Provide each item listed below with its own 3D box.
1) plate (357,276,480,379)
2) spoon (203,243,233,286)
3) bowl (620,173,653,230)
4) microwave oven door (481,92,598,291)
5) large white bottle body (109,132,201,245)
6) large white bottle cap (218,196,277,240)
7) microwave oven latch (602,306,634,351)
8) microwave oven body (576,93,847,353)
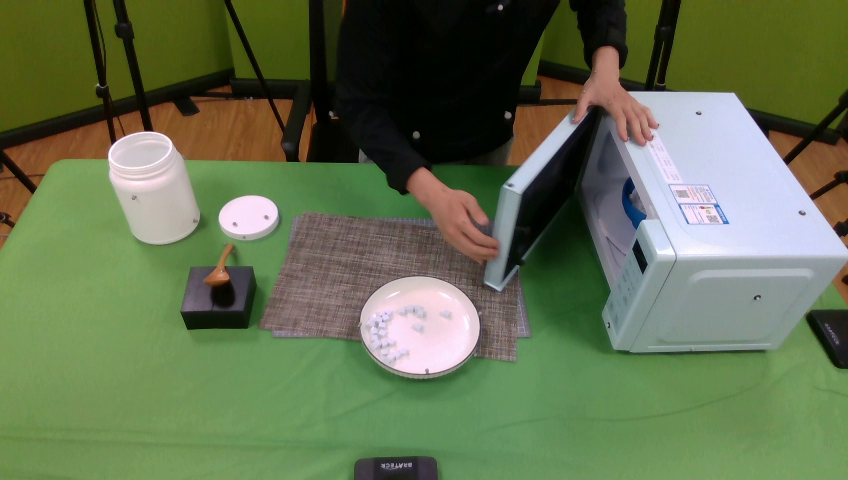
[{"bbox_3d":[-0.010,0.151,1.038,0.209,0.038,0.208,2,47,-2],"label":"plate"},{"bbox_3d":[-0.360,0.039,1.087,0.041,0.022,0.192,-5,24,-7],"label":"spoon"},{"bbox_3d":[0.444,-0.057,1.165,0.151,0.077,0.150,2,46,-2],"label":"bowl"},{"bbox_3d":[0.224,-0.098,1.139,0.039,0.245,0.355,27,50,21],"label":"microwave oven door"},{"bbox_3d":[-0.506,-0.097,1.141,0.131,0.185,0.130,2,46,-2],"label":"large white bottle body"},{"bbox_3d":[-0.354,-0.045,1.220,0.115,0.018,0.114,2,45,-2],"label":"large white bottle cap"},{"bbox_3d":[0.332,0.153,1.044,0.030,0.029,0.078,0,45,-4],"label":"microwave oven latch"},{"bbox_3d":[0.475,-0.041,1.109,0.326,0.261,0.438,-1,45,-4],"label":"microwave oven body"}]
